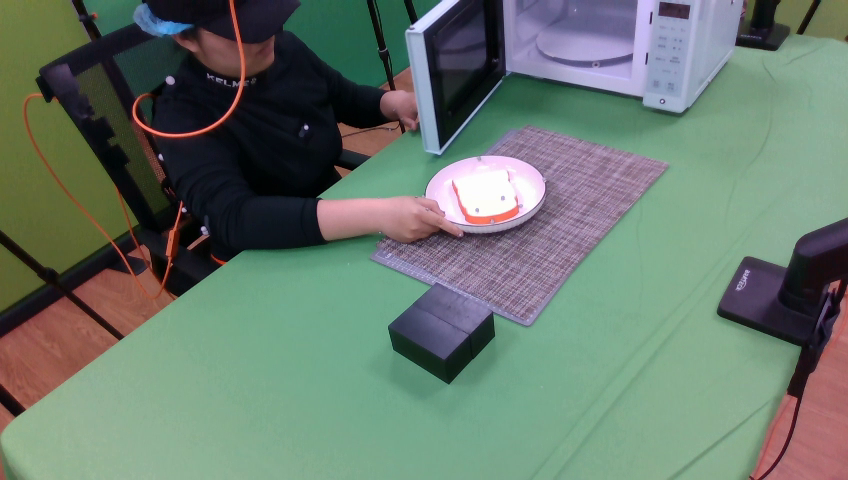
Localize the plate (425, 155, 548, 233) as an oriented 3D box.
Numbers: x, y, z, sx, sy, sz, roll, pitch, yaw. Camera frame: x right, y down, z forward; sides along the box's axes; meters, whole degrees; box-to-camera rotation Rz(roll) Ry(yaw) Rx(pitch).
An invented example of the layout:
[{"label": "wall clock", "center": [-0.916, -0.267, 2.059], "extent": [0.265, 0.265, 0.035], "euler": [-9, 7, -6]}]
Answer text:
[{"label": "plate", "center": [0.108, -0.076, 1.038], "extent": [0.209, 0.038, 0.208], "euler": [-5, 40, 5]}]

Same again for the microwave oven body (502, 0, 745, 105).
[{"label": "microwave oven body", "center": [0.416, -0.486, 1.290], "extent": [0.438, 0.261, 0.327], "euler": [21, 50, 33]}]

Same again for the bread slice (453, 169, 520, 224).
[{"label": "bread slice", "center": [0.112, -0.076, 1.040], "extent": [0.105, 0.019, 0.130], "euler": [-11, 40, -1]}]

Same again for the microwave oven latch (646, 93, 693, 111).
[{"label": "microwave oven latch", "center": [0.477, -0.273, 1.177], "extent": [0.078, 0.029, 0.030], "euler": [22, 50, 33]}]

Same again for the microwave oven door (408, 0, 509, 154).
[{"label": "microwave oven door", "center": [0.083, -0.369, 1.210], "extent": [0.039, 0.245, 0.356], "euler": [13, 45, 25]}]
